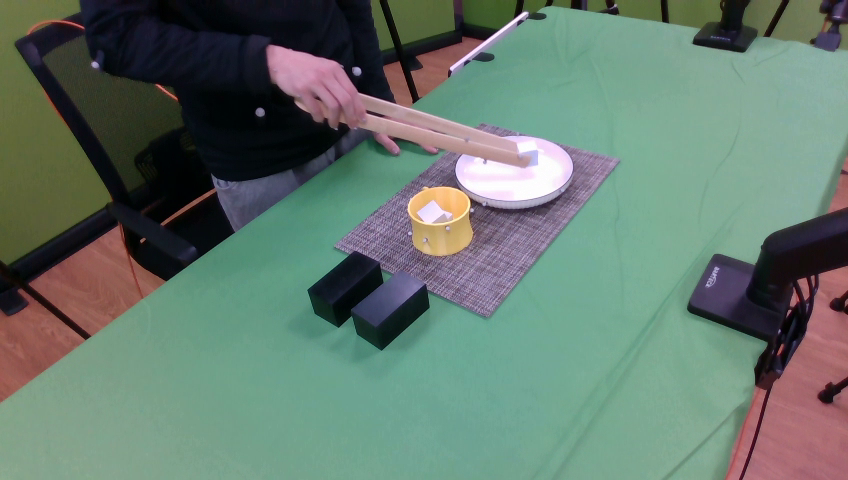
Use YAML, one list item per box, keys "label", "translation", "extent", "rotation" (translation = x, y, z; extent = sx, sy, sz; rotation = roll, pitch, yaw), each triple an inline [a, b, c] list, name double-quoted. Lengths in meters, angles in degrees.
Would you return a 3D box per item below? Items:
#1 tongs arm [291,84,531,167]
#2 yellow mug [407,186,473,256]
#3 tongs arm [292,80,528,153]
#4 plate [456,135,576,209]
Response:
- label: "tongs arm"
  translation: [-0.012, -0.175, 0.946]
  extent: [0.387, 0.026, 0.050]
  rotation: [10, 42, -18]
- label: "yellow mug"
  translation: [0.020, -0.040, 0.973]
  extent: [0.100, 0.064, 0.129]
  rotation: [-19, 41, -13]
- label: "tongs arm"
  translation: [-0.013, -0.191, 0.963]
  extent: [0.389, 0.028, 0.028]
  rotation: [13, 45, -15]
- label: "plate"
  translation: [0.161, -0.116, 1.064]
  extent: [0.207, 0.039, 0.206]
  rotation: [-4, 40, 4]
